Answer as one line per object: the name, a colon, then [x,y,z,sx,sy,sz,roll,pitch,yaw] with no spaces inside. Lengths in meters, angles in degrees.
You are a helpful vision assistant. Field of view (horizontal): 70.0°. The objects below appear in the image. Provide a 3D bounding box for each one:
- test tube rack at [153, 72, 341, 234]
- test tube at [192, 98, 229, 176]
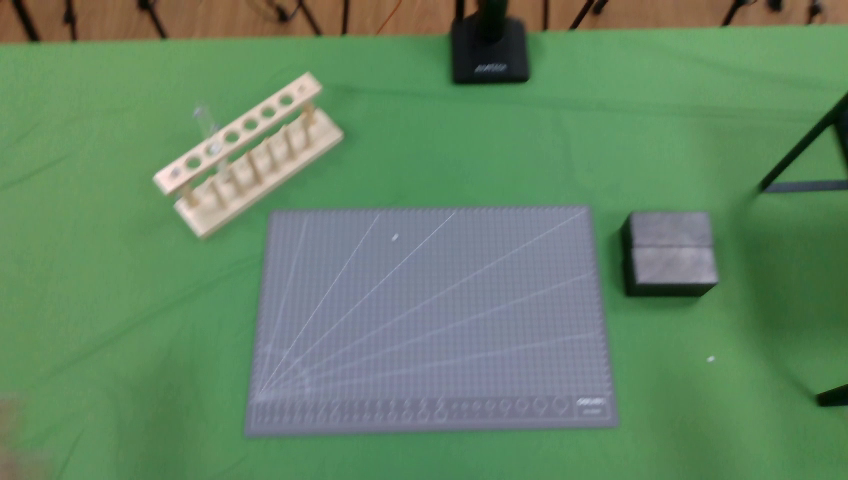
test tube rack: [-0.234,-0.120,0.832,0.242,0.086,0.066,-39,71,-16]
test tube: [-0.272,-0.128,0.782,0.017,0.151,0.017,2,62,-3]
